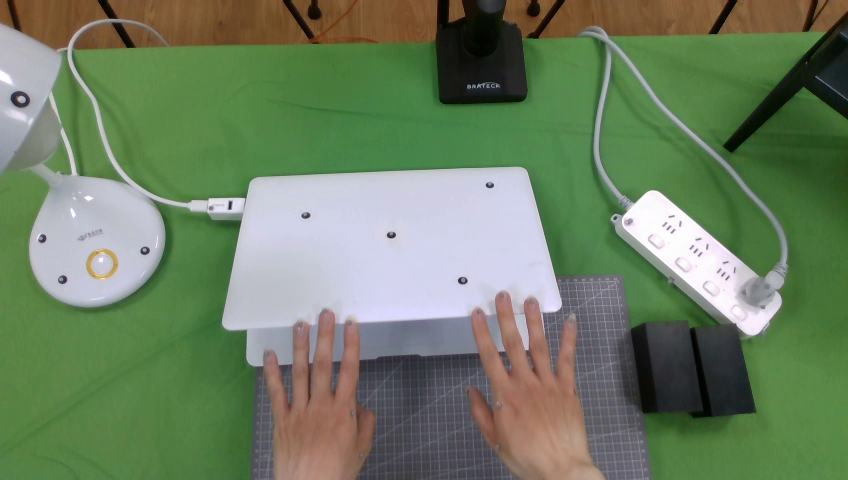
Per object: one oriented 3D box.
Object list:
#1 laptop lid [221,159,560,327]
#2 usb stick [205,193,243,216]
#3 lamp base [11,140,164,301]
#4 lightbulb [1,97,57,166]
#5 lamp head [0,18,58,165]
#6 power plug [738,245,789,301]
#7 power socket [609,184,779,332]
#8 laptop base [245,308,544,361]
[{"bbox_3d":[-0.039,-0.009,0.694,0.357,0.013,0.239,-2,49,-2],"label":"laptop lid"},{"bbox_3d":[-0.237,-0.044,0.749,0.059,0.027,0.021,2,67,-5],"label":"usb stick"},{"bbox_3d":[-0.405,-0.037,0.667,0.160,0.181,0.178,-33,74,-11],"label":"lamp base"},{"bbox_3d":[-0.309,-0.093,0.413,0.059,0.109,0.059,-22,50,29],"label":"lightbulb"},{"bbox_3d":[-0.329,-0.113,0.398,0.124,0.112,0.112,29,69,-37],"label":"lamp head"},{"bbox_3d":[0.408,0.044,0.723,0.072,0.053,0.035,-33,76,-12],"label":"power plug"},{"bbox_3d":[0.334,0.021,0.752,0.226,0.033,0.072,44,76,11],"label":"power socket"},{"bbox_3d":[-0.040,0.022,0.748,0.355,0.023,0.234,-3,75,-3],"label":"laptop base"}]
